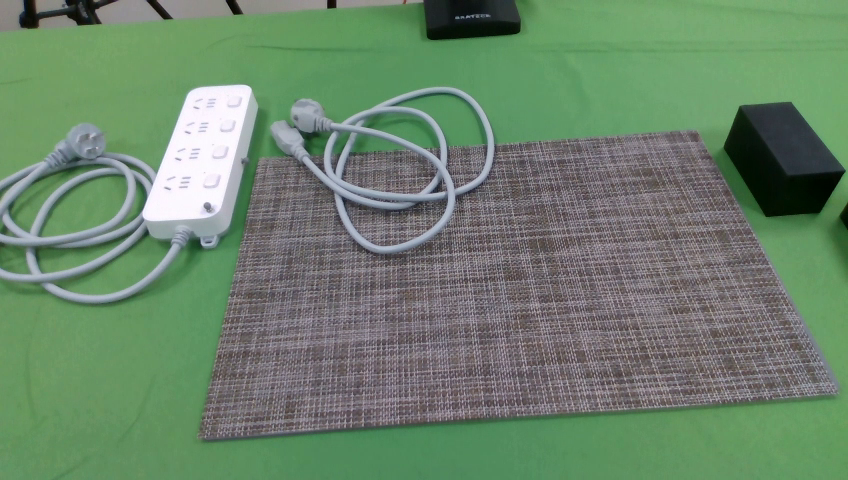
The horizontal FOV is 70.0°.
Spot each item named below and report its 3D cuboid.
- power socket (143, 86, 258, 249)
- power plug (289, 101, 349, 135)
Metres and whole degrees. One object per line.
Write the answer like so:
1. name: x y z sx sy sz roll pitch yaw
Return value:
1. power socket: -0.218 -0.083 0.608 0.072 0.033 0.224 -3 48 1
2. power plug: -0.109 -0.122 0.642 0.072 0.035 0.052 26 28 4
